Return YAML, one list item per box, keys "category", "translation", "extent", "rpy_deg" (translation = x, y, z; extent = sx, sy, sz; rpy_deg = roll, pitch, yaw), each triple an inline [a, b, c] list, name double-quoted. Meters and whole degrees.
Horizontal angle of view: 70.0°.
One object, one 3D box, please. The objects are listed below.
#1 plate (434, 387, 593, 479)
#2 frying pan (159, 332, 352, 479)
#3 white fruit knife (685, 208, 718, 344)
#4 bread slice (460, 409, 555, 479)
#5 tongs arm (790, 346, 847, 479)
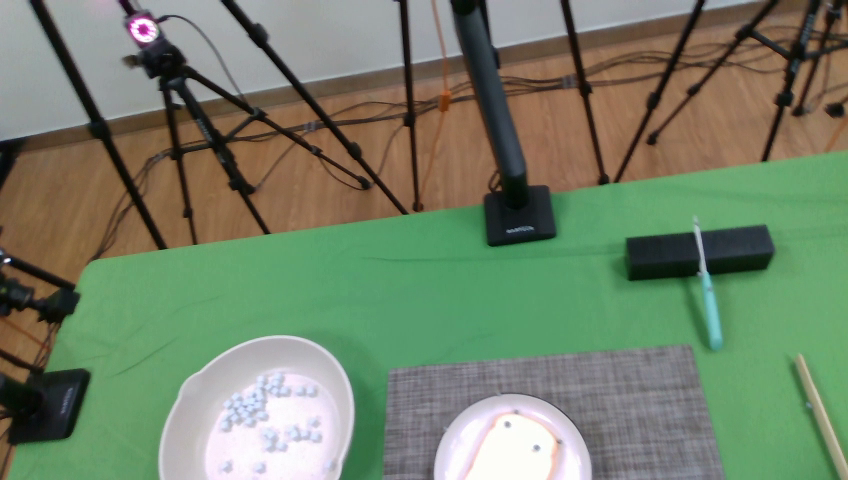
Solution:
- category: "plate"
  translation: [0.118, 0.301, 0.808]
  extent: [0.207, 0.039, 0.205]
  rpy_deg: [-7, 54, 10]
- category: "frying pan"
  translation: [-0.295, 0.349, 0.840]
  extent: [0.304, 0.104, 0.486]
  rpy_deg: [22, 55, 27]
- category: "white fruit knife"
  translation: [0.405, 0.048, 0.892]
  extent: [0.016, 0.027, 0.206]
  rpy_deg: [-5, 69, 9]
- category: "bread slice"
  translation: [0.116, 0.296, 0.814]
  extent: [0.106, 0.018, 0.133]
  rpy_deg: [14, 62, 21]
- category: "tongs arm"
  translation: [0.520, 0.304, 0.716]
  extent: [0.028, 0.028, 0.383]
  rpy_deg: [-9, 54, 6]
